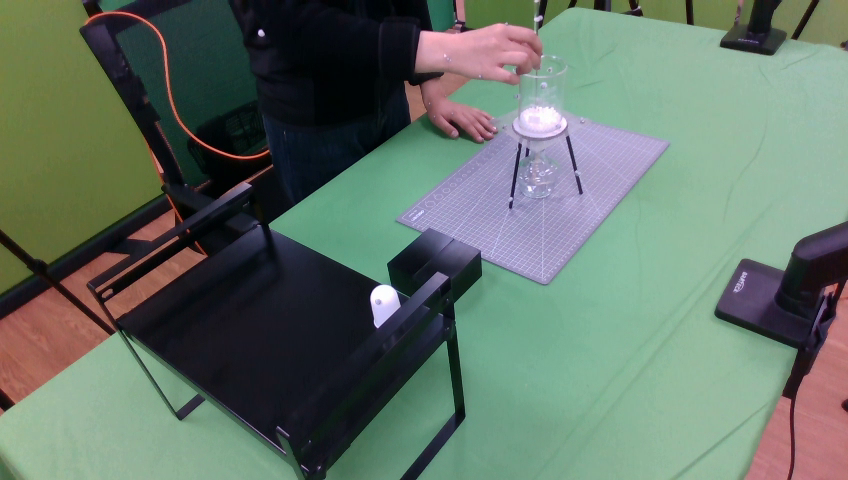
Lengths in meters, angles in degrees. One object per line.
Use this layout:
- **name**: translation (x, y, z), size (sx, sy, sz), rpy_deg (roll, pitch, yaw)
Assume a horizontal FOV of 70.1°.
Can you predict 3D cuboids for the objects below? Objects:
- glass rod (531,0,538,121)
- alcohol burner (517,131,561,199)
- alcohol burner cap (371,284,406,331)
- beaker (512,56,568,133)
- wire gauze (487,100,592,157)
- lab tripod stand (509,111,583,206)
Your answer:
- **glass rod**: translation (0.164, -0.260, 0.899), size (0.008, 0.200, 0.008), rpy_deg (-4, 47, 5)
- **alcohol burner**: translation (0.193, -0.131, 1.026), size (0.078, 0.119, 0.077), rpy_deg (-4, 38, 4)
- **alcohol burner cap**: translation (-0.037, 0.065, 0.608), size (0.034, 0.048, 0.033), rpy_deg (-4, 41, 4)
- **beaker**: translation (0.181, -0.225, 0.946), size (0.084, 0.101, 0.074), rpy_deg (3, 41, 12)
- **wire gauze**: translation (0.185, -0.187, 0.975), size (0.122, 0.011, 0.124), rpy_deg (-28, 46, -22)
- **lab tripod stand**: translation (0.198, -0.139, 1.019), size (0.148, 0.132, 0.147), rpy_deg (-3, 39, 3)
